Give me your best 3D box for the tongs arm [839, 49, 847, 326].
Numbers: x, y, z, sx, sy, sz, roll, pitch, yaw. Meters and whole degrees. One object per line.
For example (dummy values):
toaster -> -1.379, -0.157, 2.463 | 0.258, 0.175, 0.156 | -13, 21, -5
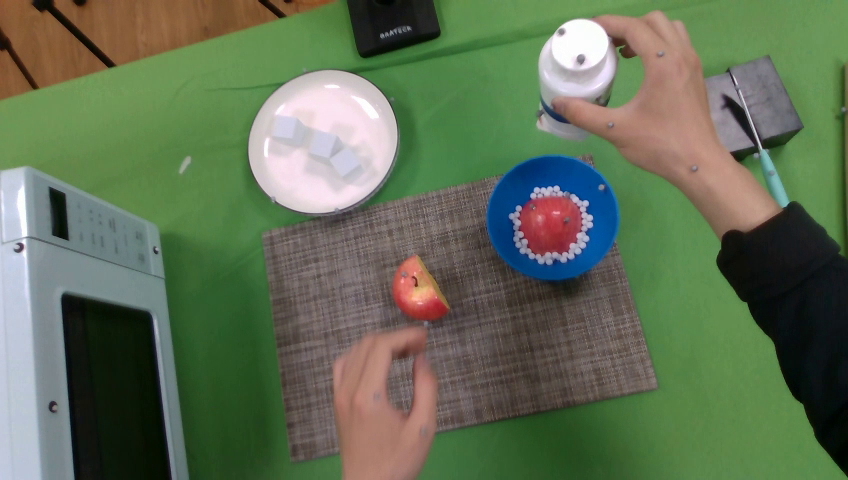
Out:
tongs arm -> 0.506, -0.045, 0.708 | 0.028, 0.028, 0.386 | 4, 79, 7

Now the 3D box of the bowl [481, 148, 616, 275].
bowl -> 0.146, -0.025, 0.725 | 0.151, 0.077, 0.150 | -2, 78, 9

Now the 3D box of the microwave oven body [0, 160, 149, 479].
microwave oven body -> -0.489, 0.189, 0.677 | 0.326, 0.261, 0.439 | -14, 77, 4

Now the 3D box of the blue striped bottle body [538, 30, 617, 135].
blue striped bottle body -> 0.129, -0.141, 0.520 | 0.063, 0.121, 0.063 | -2, 78, 11

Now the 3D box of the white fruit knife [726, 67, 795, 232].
white fruit knife -> 0.389, -0.104, 0.706 | 0.016, 0.027, 0.207 | -22, 92, 21

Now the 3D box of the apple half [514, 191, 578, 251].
apple half -> 0.147, -0.026, 0.720 | 0.081, 0.033, 0.081 | -2, 76, 8

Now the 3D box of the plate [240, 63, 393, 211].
plate -> -0.142, -0.135, 0.816 | 0.207, 0.039, 0.206 | -2, 78, 8

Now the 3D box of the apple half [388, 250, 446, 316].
apple half -> -0.015, 0.059, 0.733 | 0.053, 0.075, 0.080 | -33, 79, 4

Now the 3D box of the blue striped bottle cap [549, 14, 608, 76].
blue striped bottle cap -> 0.120, -0.152, 0.471 | 0.044, 0.021, 0.044 | -2, 83, 12

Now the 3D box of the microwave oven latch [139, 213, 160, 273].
microwave oven latch -> -0.371, 0.006, 0.800 | 0.030, 0.029, 0.078 | -14, 77, 4

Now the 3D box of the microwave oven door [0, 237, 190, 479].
microwave oven door -> -0.340, 0.190, 0.650 | 0.039, 0.245, 0.353 | -15, 76, 5
